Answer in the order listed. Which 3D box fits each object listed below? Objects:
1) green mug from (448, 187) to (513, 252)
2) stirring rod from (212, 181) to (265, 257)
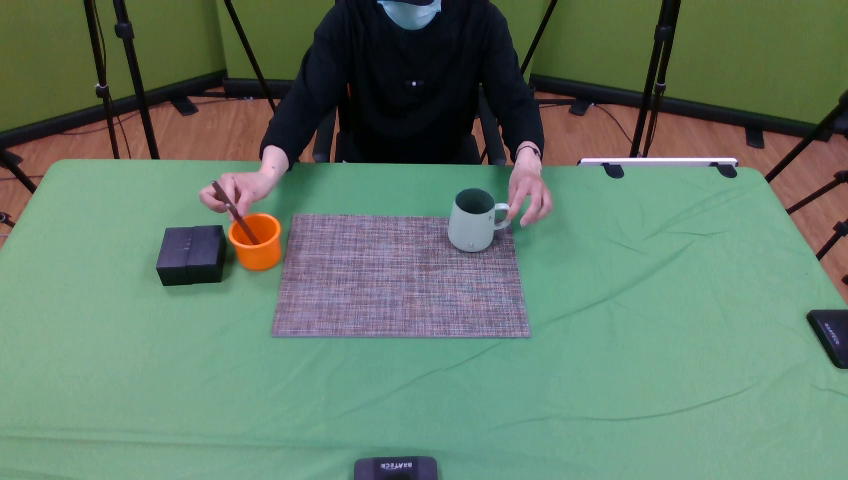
[{"bbox_3d":[0.111,-0.041,1.179,0.125,0.105,0.092,-7,47,-10],"label":"green mug"},{"bbox_3d":[-0.334,-0.036,1.099,0.006,0.177,0.014,-14,38,14],"label":"stirring rod"}]
